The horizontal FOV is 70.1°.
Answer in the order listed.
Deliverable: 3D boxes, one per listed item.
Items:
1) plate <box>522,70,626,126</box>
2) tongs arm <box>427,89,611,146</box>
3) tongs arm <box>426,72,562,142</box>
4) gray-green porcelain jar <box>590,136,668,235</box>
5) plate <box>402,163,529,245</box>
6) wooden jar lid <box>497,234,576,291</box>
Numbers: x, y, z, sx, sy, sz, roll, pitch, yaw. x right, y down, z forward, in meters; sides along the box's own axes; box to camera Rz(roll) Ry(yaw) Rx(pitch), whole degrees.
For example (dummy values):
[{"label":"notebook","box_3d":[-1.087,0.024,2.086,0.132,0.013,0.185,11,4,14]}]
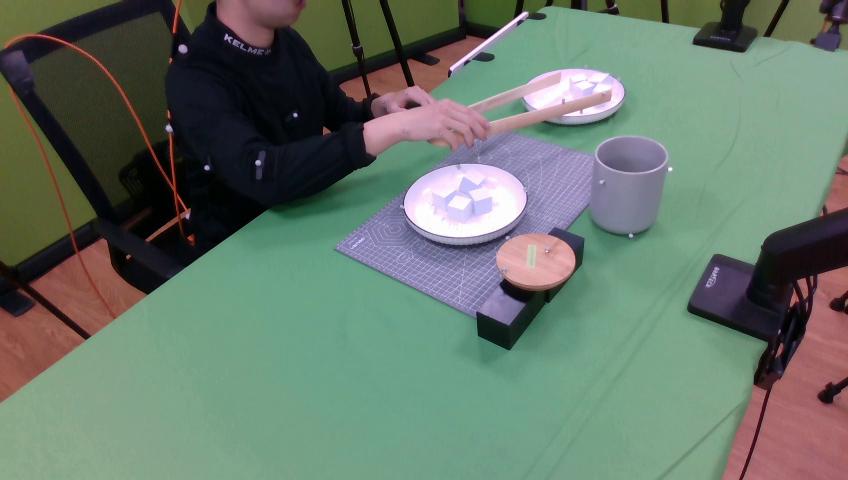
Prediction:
[{"label":"plate","box_3d":[0.308,-0.289,1.251,0.207,0.039,0.206,-4,40,4]},{"label":"tongs arm","box_3d":[0.185,-0.232,1.122,0.387,0.026,0.050,-20,39,-22]},{"label":"tongs arm","box_3d":[0.144,-0.266,1.176,0.389,0.028,0.028,-28,46,-31]},{"label":"gray-green porcelain jar","box_3d":[0.314,-0.080,0.937,0.106,0.127,0.105,-4,41,4]},{"label":"plate","box_3d":[0.069,-0.056,1.008,0.209,0.038,0.208,-4,40,4]},{"label":"wooden jar lid","box_3d":[0.155,0.032,0.834,0.108,0.021,0.108,-5,40,5]}]
